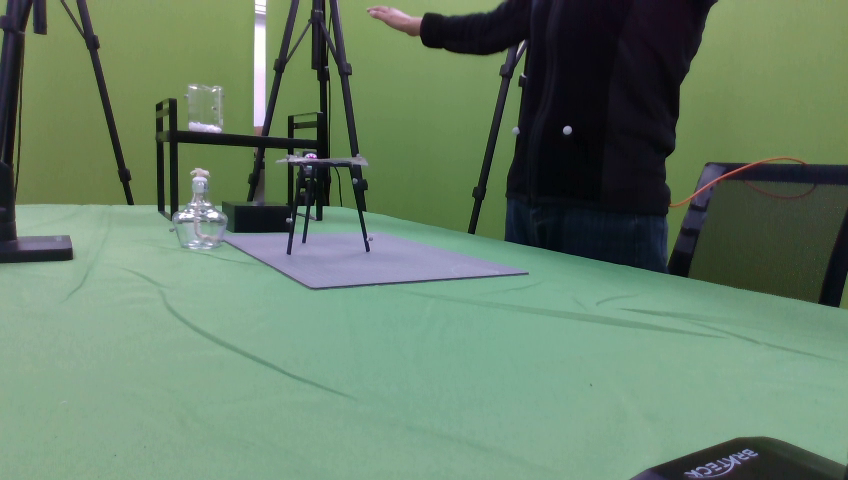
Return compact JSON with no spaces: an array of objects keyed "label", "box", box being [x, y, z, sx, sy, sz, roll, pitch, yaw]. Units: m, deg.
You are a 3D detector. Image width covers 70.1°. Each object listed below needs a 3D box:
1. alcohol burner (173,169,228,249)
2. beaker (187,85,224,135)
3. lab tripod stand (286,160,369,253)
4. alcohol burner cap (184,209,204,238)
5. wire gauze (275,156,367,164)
[{"label":"alcohol burner","box":[-0.333,-0.047,0.903,0.078,0.119,0.078,1,6,0]},{"label":"beaker","box":[-0.466,-0.276,1.296,0.074,0.100,0.083,-3,10,-35]},{"label":"lab tripod stand","box":[-0.157,-0.053,0.901,0.148,0.131,0.148,0,7,0]},{"label":"alcohol burner cap","box":[-0.389,-0.029,1.025,0.034,0.048,0.034,2,8,0]},{"label":"wire gauze","box":[-0.148,-0.119,0.895,0.121,0.011,0.125,1,7,-3]}]
